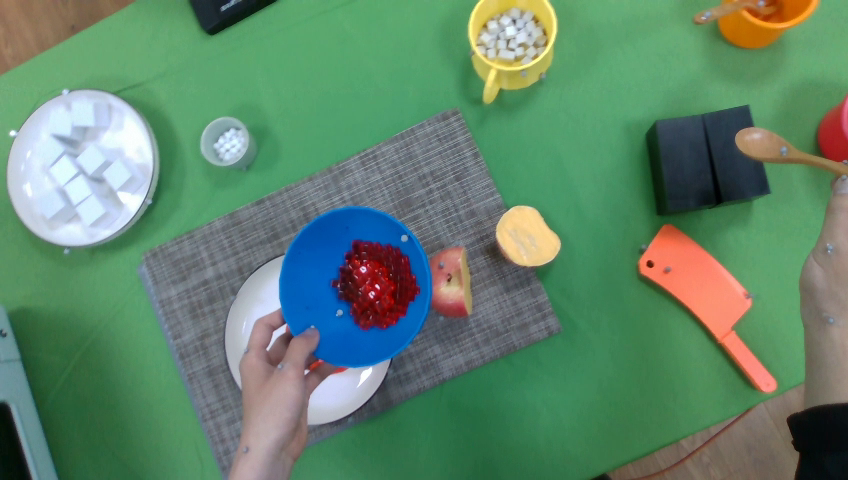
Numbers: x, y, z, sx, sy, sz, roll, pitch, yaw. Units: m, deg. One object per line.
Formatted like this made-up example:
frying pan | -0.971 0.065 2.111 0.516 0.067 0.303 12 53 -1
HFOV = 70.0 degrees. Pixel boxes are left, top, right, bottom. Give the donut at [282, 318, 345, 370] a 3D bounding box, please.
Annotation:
donut | -0.119 0.104 0.714 0.099 0.048 0.099 0 89 6

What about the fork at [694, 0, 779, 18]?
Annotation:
fork | 0.336 -0.254 0.642 0.208 0.018 0.028 -25 80 -39

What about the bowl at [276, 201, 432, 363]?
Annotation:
bowl | -0.058 0.040 0.594 0.151 0.077 0.151 -1 87 14

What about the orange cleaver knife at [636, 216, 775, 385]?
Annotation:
orange cleaver knife | 0.328 0.066 0.684 0.077 0.012 0.210 -40 81 -2

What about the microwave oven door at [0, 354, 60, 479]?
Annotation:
microwave oven door | -0.479 0.302 0.638 0.039 0.244 0.354 -23 82 5

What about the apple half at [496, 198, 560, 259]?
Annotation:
apple half | 0.113 -0.007 0.704 0.081 0.033 0.080 9 61 -16

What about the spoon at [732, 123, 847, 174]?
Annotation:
spoon | 0.332 -0.066 0.507 0.041 0.192 0.022 -17 116 -7

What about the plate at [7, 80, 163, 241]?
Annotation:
plate | -0.433 -0.101 0.786 0.207 0.039 0.207 -1 85 8

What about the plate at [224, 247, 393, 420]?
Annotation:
plate | -0.135 0.107 0.727 0.209 0.038 0.208 -1 86 7

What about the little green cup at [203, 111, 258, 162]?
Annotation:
little green cup | -0.242 -0.127 0.763 0.061 0.039 0.061 -1 85 8

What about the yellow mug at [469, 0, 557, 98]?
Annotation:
yellow mug | 0.098 -0.229 0.713 0.099 0.064 0.131 23 89 9

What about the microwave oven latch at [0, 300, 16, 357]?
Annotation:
microwave oven latch | -0.546 0.109 0.764 0.030 0.029 0.079 -21 84 5

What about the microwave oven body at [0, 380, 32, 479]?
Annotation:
microwave oven body | -0.629 0.320 0.661 0.326 0.261 0.440 -23 83 4

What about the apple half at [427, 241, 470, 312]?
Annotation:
apple half | 0.024 0.043 0.694 0.053 0.075 0.080 -6 88 10
